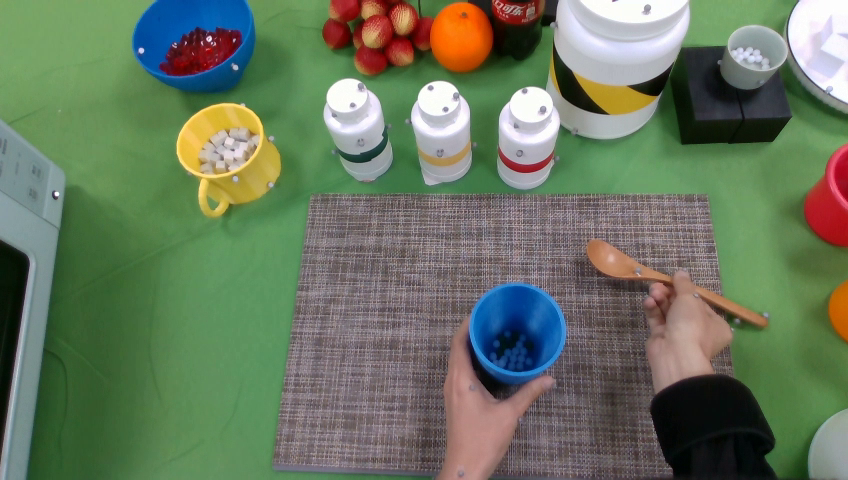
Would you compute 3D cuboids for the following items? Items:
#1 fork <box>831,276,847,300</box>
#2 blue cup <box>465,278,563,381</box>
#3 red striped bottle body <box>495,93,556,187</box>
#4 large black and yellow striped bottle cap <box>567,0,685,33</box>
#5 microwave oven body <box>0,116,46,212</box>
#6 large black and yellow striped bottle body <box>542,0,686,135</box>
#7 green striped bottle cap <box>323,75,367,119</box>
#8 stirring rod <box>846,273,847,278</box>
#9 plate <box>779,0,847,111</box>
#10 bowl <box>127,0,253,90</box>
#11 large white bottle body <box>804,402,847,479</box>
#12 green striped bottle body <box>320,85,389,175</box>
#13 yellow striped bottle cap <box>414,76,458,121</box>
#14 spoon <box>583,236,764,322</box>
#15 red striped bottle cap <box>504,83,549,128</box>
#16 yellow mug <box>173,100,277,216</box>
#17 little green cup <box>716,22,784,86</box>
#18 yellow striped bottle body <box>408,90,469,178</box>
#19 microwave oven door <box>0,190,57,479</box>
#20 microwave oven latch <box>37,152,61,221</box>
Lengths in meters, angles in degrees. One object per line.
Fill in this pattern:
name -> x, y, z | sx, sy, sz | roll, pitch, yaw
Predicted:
fork -> 0.463, 0.070, 0.527 | 0.028, 0.019, 0.205 | -33, 24, -14
blue cup -> 0.082, 0.093, 0.573 | 0.092, 0.101, 0.092 | -1, 66, 3
red striped bottle body -> 0.109, -0.113, 0.652 | 0.063, 0.121, 0.062 | -4, 64, 8
large black and yellow striped bottle cap -> 0.192, -0.246, 0.575 | 0.115, 0.019, 0.114 | -2, 66, 5
microwave oven body -> -0.578, 0.083, 0.549 | 0.326, 0.262, 0.438 | -8, 67, 1
large black and yellow striped bottle body -> 0.200, -0.214, 0.652 | 0.131, 0.185, 0.130 | -2, 67, 5
green striped bottle cap -> -0.082, -0.148, 0.627 | 0.044, 0.020, 0.044 | -1, 66, 4
stirring rod -> 0.435, 0.069, 0.536 | 0.014, 0.006, 0.175 | -6, 24, 2
plate -> 0.522, -0.227, 0.709 | 0.209, 0.038, 0.207 | -2, 67, 4
bowl -> -0.281, -0.244, 0.765 | 0.151, 0.077, 0.150 | -1, 67, 4
large white bottle body -> 0.403, 0.175, 0.468 | 0.130, 0.186, 0.129 | -2, 66, 5
green striped bottle body -> -0.077, -0.128, 0.675 | 0.063, 0.120, 0.062 | -2, 66, 4
yellow striped bottle cap -> 0.012, -0.144, 0.617 | 0.044, 0.019, 0.044 | -1, 68, 4
spoon -> 0.253, 0.042, 0.619 | 0.193, 0.022, 0.041 | 21, 43, 9
red striped bottle cap -> 0.103, -0.135, 0.605 | 0.044, 0.018, 0.044 | 0, 65, 1
yellow mug -> -0.234, -0.090, 0.702 | 0.100, 0.064, 0.130 | 10, 69, 8
little green cup -> 0.351, -0.200, 0.657 | 0.061, 0.039, 0.061 | -1, 66, 3
yellow striped bottle body -> 0.017, -0.124, 0.665 | 0.063, 0.121, 0.062 | -2, 66, 5
microwave oven door -> -0.429, 0.098, 0.524 | 0.039, 0.246, 0.353 | -9, 66, 2
microwave oven latch -> -0.445, -0.061, 0.703 | 0.030, 0.030, 0.078 | -7, 67, 2
